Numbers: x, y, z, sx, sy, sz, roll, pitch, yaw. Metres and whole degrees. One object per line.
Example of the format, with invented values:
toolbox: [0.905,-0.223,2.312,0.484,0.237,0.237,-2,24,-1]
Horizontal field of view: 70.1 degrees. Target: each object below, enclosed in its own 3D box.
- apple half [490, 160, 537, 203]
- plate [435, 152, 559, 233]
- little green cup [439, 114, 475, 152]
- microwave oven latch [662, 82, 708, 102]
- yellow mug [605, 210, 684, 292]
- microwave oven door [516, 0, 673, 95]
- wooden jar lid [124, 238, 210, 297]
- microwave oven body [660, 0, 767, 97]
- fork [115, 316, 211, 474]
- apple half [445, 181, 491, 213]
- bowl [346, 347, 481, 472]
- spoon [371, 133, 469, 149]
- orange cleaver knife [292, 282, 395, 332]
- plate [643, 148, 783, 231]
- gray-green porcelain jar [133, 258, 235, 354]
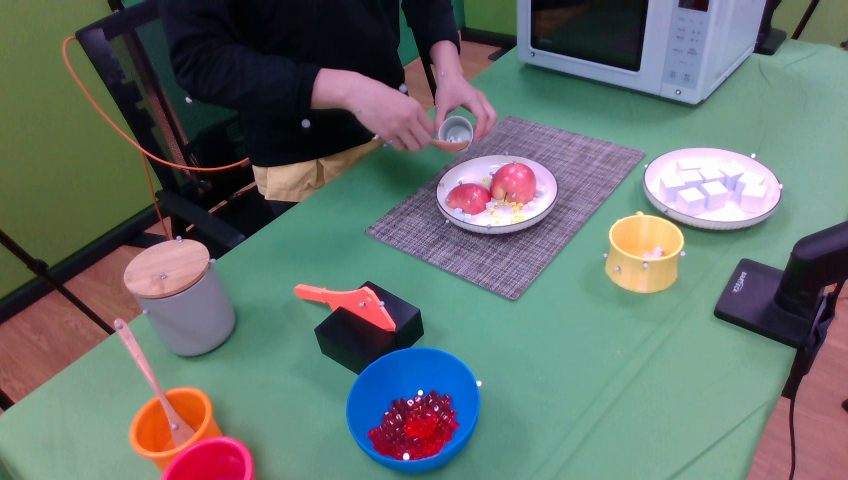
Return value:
apple half: [0.154,-0.106,1.030,0.080,0.053,0.075,22,46,31]
plate: [0.124,-0.078,1.026,0.209,0.038,0.208,-4,40,4]
little green cup: [0.057,-0.181,1.034,0.061,0.039,0.061,0,81,3]
microwave oven latch: [0.518,-0.298,1.203,0.078,0.029,0.030,28,53,35]
yellow mug: [0.318,0.007,0.883,0.100,0.064,0.130,0,41,8]
microwave oven door: [0.344,-0.458,1.257,0.353,0.245,0.039,26,51,33]
wooden jar lid: [-0.335,0.039,0.794,0.108,0.021,0.108,-2,40,2]
microwave oven body: [0.474,-0.517,1.313,0.438,0.261,0.327,26,51,34]
fork: [-0.308,0.179,0.708,0.028,0.018,0.207,-30,89,-22]
apple half: [0.076,-0.083,1.029,0.081,0.033,0.081,-2,42,2]
bowl: [-0.008,0.205,0.691,0.151,0.077,0.150,-4,40,4]
spoon: [-0.004,-0.160,0.955,0.195,0.021,0.041,0,-2,-39]
orange cleaver knife: [-0.116,0.091,0.835,0.209,0.077,0.012,2,32,48]
plate: [0.464,-0.080,0.986,0.207,0.039,0.206,-4,41,4]
gray-green porcelain jar: [-0.327,0.086,0.836,0.106,0.127,0.105,-4,41,4]
